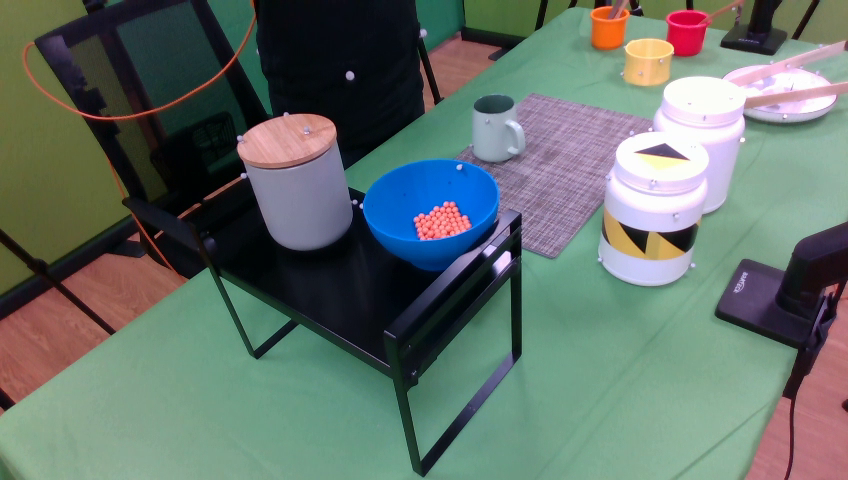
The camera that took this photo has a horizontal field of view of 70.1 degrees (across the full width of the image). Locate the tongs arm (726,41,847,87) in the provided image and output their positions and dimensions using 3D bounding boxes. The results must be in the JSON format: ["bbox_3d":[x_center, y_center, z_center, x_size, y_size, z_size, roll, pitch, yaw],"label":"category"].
[{"bbox_3d":[0.712,-0.332,1.194,0.386,0.026,0.050,-18,45,-16],"label":"tongs arm"}]

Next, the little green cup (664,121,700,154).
[{"bbox_3d":[0.473,-0.188,1.113,0.061,0.039,0.061,-5,40,5],"label":"little green cup"}]

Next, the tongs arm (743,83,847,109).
[{"bbox_3d":[0.738,-0.282,1.134,0.388,0.028,0.028,-9,47,-5],"label":"tongs arm"}]

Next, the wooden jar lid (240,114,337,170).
[{"bbox_3d":[-0.149,-0.106,0.673,0.108,0.021,0.108,-6,39,5],"label":"wooden jar lid"}]

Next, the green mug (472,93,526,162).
[{"bbox_3d":[0.144,-0.202,1.122,0.093,0.105,0.124,-29,45,-23],"label":"green mug"}]

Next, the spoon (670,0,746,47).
[{"bbox_3d":[0.629,-0.485,1.350,0.022,0.193,0.042,48,54,-7],"label":"spoon"}]

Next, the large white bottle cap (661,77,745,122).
[{"bbox_3d":[0.415,-0.210,0.904,0.115,0.018,0.114,-4,40,4],"label":"large white bottle cap"}]

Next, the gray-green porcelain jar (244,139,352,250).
[{"bbox_3d":[-0.144,-0.060,0.714,0.106,0.127,0.105,-4,41,4],"label":"gray-green porcelain jar"}]

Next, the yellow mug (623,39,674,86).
[{"bbox_3d":[0.484,-0.398,1.334,0.100,0.064,0.130,-18,41,-11],"label":"yellow mug"}]

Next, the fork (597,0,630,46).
[{"bbox_3d":[0.481,-0.556,1.452,0.028,0.019,0.207,38,102,37],"label":"fork"}]

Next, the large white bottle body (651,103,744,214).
[{"bbox_3d":[0.426,-0.146,0.958,0.130,0.185,0.130,-4,40,4],"label":"large white bottle body"}]

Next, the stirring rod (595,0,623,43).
[{"bbox_3d":[0.461,-0.555,1.459,0.014,0.006,0.176,31,94,26],"label":"stirring rod"}]

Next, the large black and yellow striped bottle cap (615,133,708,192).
[{"bbox_3d":[0.313,-0.105,0.799,0.115,0.019,0.114,-5,41,5],"label":"large black and yellow striped bottle cap"}]

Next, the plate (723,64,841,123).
[{"bbox_3d":[0.695,-0.282,1.189,0.207,0.039,0.206,-4,40,4],"label":"plate"}]

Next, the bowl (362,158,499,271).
[{"bbox_3d":[0.011,-0.019,0.679,0.151,0.077,0.150,-5,41,4],"label":"bowl"}]

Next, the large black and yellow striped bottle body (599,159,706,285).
[{"bbox_3d":[0.320,-0.042,0.854,0.131,0.185,0.130,-4,41,4],"label":"large black and yellow striped bottle body"}]
